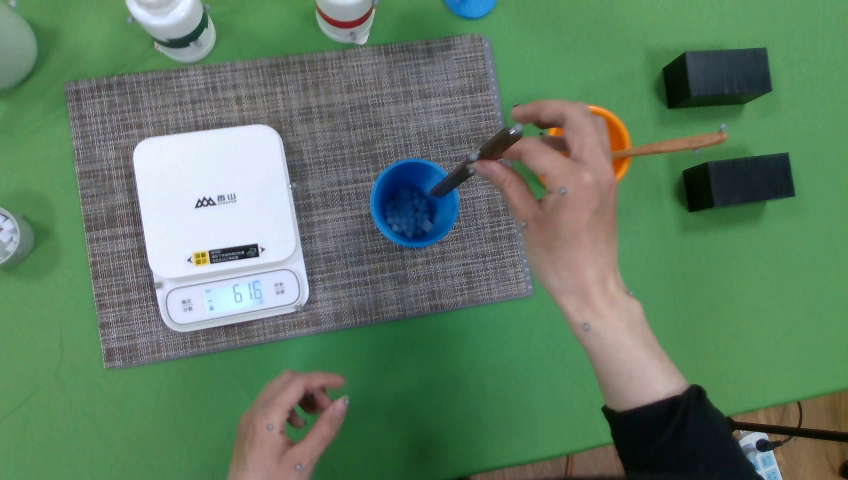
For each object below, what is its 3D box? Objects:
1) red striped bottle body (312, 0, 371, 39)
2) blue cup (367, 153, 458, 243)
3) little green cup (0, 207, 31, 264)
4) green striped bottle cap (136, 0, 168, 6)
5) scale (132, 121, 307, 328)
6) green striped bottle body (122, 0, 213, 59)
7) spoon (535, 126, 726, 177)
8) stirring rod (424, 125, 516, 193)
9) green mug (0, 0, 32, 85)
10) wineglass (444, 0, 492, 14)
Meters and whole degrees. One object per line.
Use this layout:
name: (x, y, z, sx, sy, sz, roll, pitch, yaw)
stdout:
red striped bottle body: (-0.084, -0.256, 0.613, 0.063, 0.119, 0.063, 0, 86, -7)
blue cup: (-0.015, -0.037, 0.615, 0.093, 0.100, 0.092, 0, 87, -6)
little green cup: (-0.423, -0.004, 0.596, 0.062, 0.038, 0.061, 1, 86, -8)
green striped bottle cap: (-0.244, -0.232, 0.535, 0.044, 0.020, 0.044, 0, 86, -6)
scale: (-0.209, -0.017, 0.624, 0.149, 0.031, 0.200, -10, 88, -7)
green striped bottle body: (-0.250, -0.227, 0.590, 0.063, 0.119, 0.063, 0, 86, -7)
spoon: (0.206, -0.094, 0.627, 0.022, 0.192, 0.041, -9, 94, -51)
stirring rod: (0.030, -0.058, 0.468, 0.014, 0.176, 0.006, 6, 80, -15)
green mug: (-0.447, -0.186, 0.570, 0.093, 0.105, 0.125, 26, 83, -5)
wineglass: (0.059, -0.296, 0.607, 0.074, 0.172, 0.073, 0, 86, -6)
